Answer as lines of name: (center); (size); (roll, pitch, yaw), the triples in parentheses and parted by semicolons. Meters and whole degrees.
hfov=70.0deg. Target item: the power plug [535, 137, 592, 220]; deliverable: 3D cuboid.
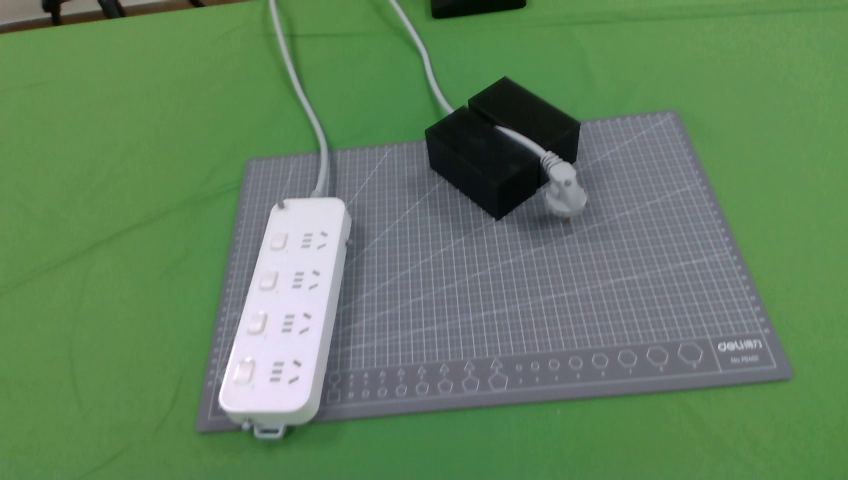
power plug: (0.124, -0.054, 0.540); (0.035, 0.053, 0.072); (-10, 55, -4)

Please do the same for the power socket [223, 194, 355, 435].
power socket: (-0.108, 0.048, 0.512); (0.072, 0.033, 0.224); (0, 53, 7)
